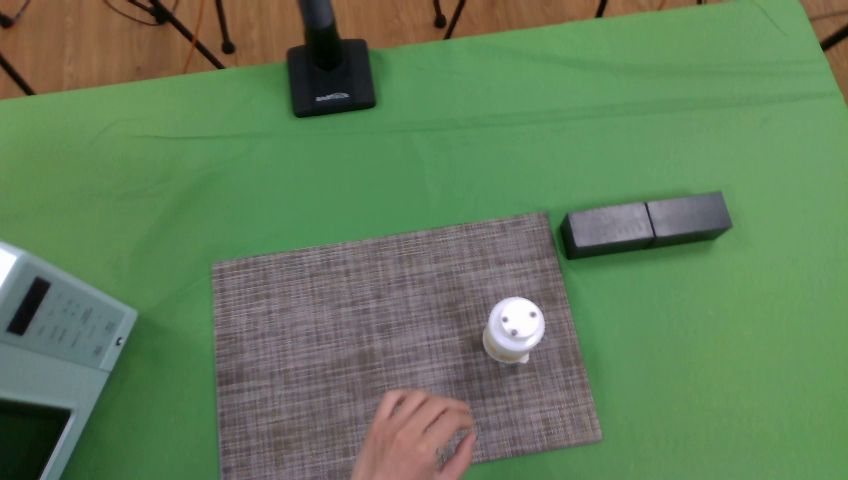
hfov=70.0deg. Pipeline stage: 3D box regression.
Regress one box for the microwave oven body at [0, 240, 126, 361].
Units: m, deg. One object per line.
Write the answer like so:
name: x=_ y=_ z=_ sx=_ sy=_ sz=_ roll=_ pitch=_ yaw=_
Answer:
microwave oven body: x=-0.575 y=0.190 z=0.598 sx=0.325 sy=0.261 sz=0.439 roll=17 pitch=73 yaw=5

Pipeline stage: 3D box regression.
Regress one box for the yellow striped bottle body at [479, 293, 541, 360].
yellow striped bottle body: x=0.100 y=0.100 z=0.706 sx=0.063 sy=0.121 sz=0.062 roll=0 pitch=70 yaw=0

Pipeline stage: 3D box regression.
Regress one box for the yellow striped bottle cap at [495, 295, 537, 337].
yellow striped bottle cap: x=0.100 y=0.082 z=0.656 sx=0.044 sy=0.019 sz=0.044 roll=0 pitch=73 yaw=0

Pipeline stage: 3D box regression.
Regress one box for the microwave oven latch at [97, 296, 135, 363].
microwave oven latch: x=-0.379 y=0.107 z=0.730 sx=0.030 sy=0.029 sz=0.079 roll=19 pitch=73 yaw=6

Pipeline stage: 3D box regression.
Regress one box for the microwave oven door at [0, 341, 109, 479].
microwave oven door: x=-0.449 y=0.269 z=0.567 sx=0.039 sy=0.245 sz=0.354 roll=17 pitch=72 yaw=6
